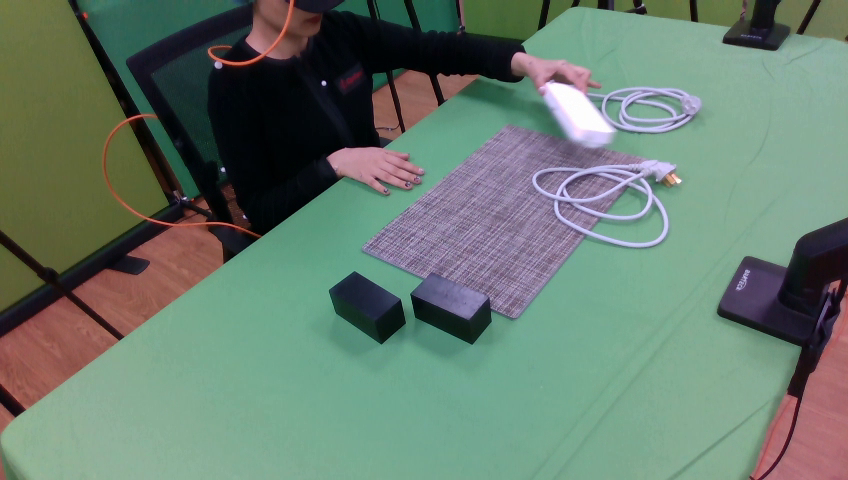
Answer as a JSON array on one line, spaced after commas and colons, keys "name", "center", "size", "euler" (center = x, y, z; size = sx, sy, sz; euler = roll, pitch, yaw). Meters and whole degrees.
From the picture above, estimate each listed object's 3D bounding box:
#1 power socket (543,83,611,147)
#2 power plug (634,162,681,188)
[{"name": "power socket", "center": [0.278, -0.238, 1.117], "size": [0.072, 0.032, 0.225], "euler": [0, 36, -7]}, {"name": "power plug", "center": [0.396, -0.102, 1.026], "size": [0.072, 0.035, 0.052], "euler": [-35, 68, -5]}]
